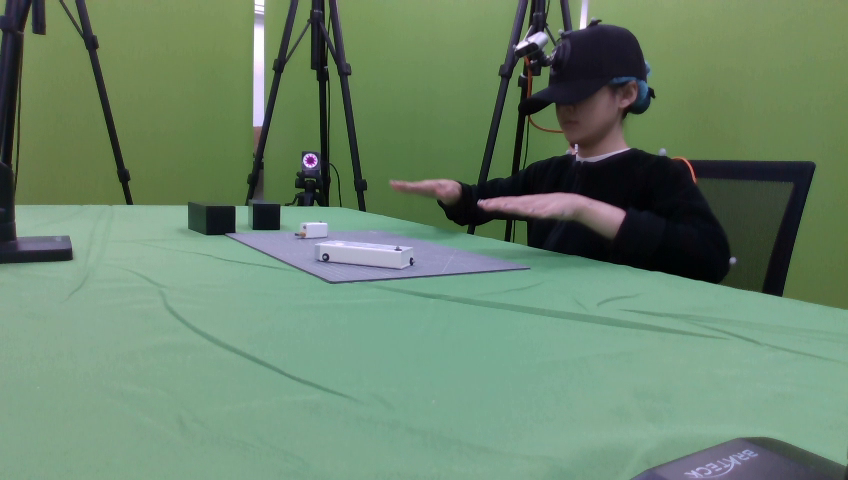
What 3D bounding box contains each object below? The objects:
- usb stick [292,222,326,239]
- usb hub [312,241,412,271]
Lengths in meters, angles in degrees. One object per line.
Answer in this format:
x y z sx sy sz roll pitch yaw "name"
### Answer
-0.198 -0.016 1.036 0.021 0.027 0.059 14 16 41 "usb stick"
-0.082 0.020 0.804 0.125 0.025 0.049 5 8 17 "usb hub"
